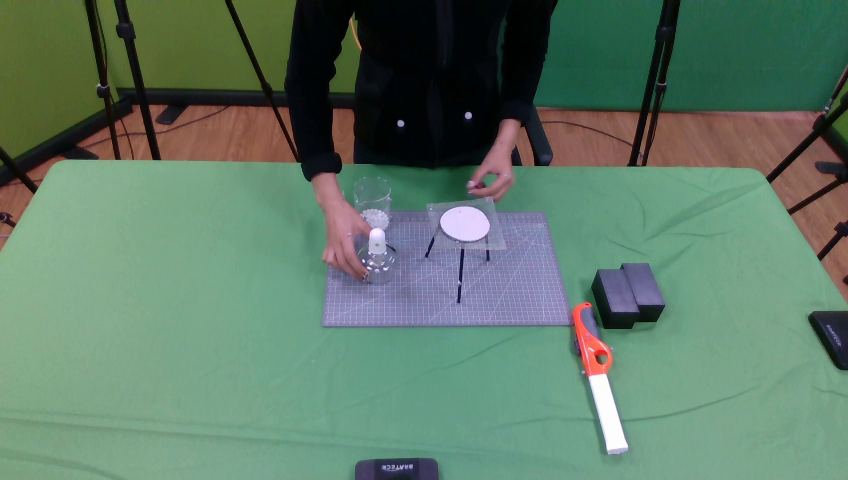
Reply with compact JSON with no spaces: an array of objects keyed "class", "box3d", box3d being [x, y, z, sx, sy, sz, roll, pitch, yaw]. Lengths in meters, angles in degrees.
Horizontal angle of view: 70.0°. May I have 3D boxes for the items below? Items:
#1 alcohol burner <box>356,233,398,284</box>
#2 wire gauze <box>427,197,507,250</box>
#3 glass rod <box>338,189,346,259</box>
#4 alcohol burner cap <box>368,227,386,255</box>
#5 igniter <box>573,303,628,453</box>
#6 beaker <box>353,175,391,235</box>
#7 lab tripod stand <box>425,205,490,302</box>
[{"class":"alcohol burner","box3d":[-0.085,0.024,1.101,0.078,0.119,0.077,3,49,-3]},{"class":"wire gauze","box3d":[0.073,-0.028,1.055,0.125,0.011,0.120,-3,48,-7]},{"class":"glass rod","box3d":[-0.166,-0.037,1.227,0.008,0.008,0.198,0,47,-3]},{"class":"alcohol burner cap","box3d":[-0.084,-0.001,1.074,0.034,0.048,0.033,0,43,0]},{"class":"igniter","box3d":[0.288,0.217,1.006,0.057,0.025,0.274,-10,46,8]},{"class":"beaker","box3d":[-0.104,-0.065,1.195,0.074,0.101,0.084,24,49,18]},{"class":"lab tripod stand","box3d":[0.069,0.017,1.106,0.148,0.132,0.147,3,47,-3]}]
